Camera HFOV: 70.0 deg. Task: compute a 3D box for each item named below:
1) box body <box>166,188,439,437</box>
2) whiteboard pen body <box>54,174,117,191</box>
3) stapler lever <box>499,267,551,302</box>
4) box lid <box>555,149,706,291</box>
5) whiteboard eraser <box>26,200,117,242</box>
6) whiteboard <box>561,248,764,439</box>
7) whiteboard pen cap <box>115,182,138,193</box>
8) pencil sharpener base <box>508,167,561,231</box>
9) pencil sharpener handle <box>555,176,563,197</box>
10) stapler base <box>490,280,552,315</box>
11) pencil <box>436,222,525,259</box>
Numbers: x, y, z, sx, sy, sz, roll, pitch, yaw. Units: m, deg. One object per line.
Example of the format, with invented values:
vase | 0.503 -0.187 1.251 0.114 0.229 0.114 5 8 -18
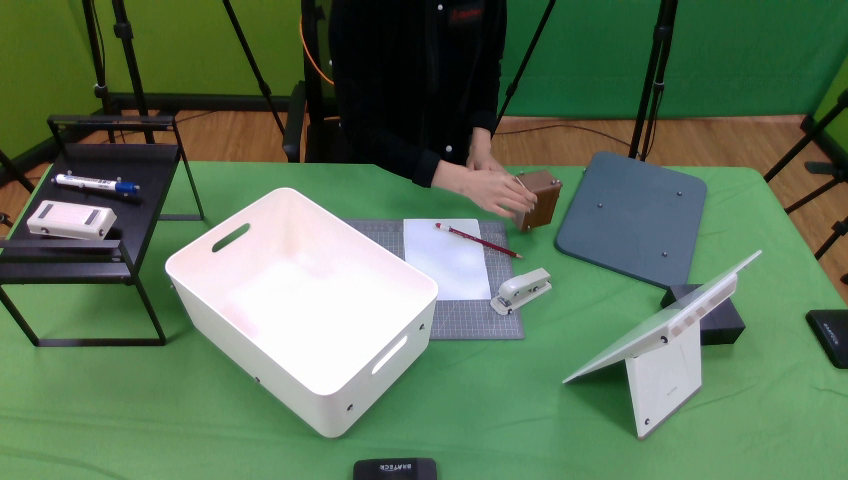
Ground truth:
box body | -0.190 0.108 0.980 0.362 0.161 0.254 32 52 24
whiteboard pen body | -0.541 -0.093 0.993 0.140 0.017 0.017 7 46 8
stapler lever | 0.185 0.076 1.101 0.118 0.040 0.026 -25 56 -29
box lid | 0.451 -0.059 1.297 0.263 0.015 0.370 20 49 14
whiteboard eraser | -0.532 -0.026 0.919 0.113 0.042 0.055 7 45 3
whiteboard | 0.386 0.176 0.905 0.217 0.306 0.143 -26 72 -27
whiteboard pen cap | -0.483 -0.086 0.984 0.033 0.018 0.018 7 46 10
pencil sharpener base | 0.217 -0.080 1.185 0.077 0.107 0.061 -15 48 -18
pencil sharpener handle | 0.263 -0.104 1.194 0.031 0.068 0.036 -15 63 -18
stapler base | 0.181 0.094 1.118 0.130 0.024 0.041 -24 56 -29
pencil | 0.111 0.001 1.210 0.193 0.012 0.012 22 49 14
